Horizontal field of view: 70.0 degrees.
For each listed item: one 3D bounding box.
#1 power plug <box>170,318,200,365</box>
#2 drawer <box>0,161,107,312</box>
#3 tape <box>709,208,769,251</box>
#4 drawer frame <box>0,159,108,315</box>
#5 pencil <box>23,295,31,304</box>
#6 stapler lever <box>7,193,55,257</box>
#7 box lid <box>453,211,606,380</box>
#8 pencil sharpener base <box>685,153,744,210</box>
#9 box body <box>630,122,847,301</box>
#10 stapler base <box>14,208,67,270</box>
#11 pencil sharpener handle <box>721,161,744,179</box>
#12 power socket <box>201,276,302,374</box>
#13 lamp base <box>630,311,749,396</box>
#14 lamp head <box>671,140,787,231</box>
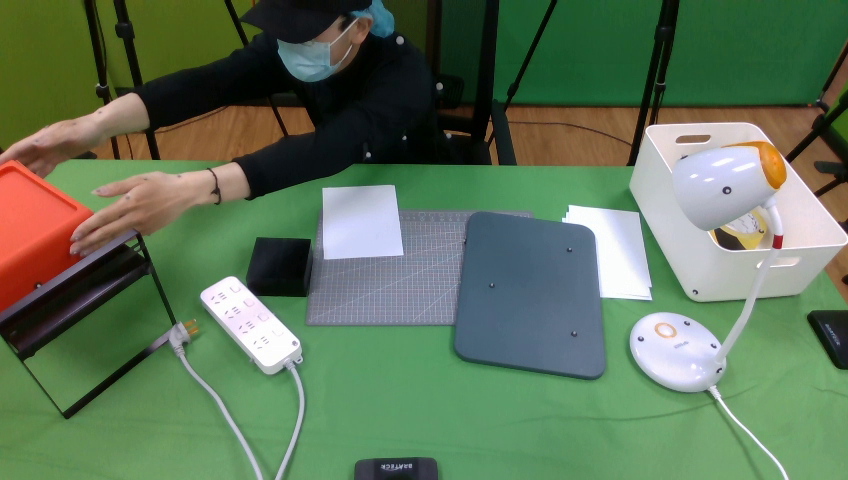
[{"bbox_3d":[-0.392,0.167,1.014,0.052,0.035,0.072,-30,89,-23],"label":"power plug"},{"bbox_3d":[-0.610,-0.001,0.866,0.194,0.073,0.211,28,52,21],"label":"drawer"},{"bbox_3d":[0.633,-0.025,1.238,0.117,0.053,0.116,1,46,-1],"label":"tape"},{"bbox_3d":[-0.611,0.000,0.863,0.201,0.083,0.213,27,51,20],"label":"drawer frame"},{"bbox_3d":[-0.591,0.012,0.882,0.012,0.012,0.193,-18,61,-20],"label":"pencil"},{"bbox_3d":[-0.575,-0.025,0.885,0.027,0.040,0.117,-30,56,-25],"label":"stapler lever"},{"bbox_3d":[0.200,0.085,1.138,0.263,0.015,0.369,8,47,3],"label":"box lid"},{"bbox_3d":[0.619,-0.124,1.293,0.077,0.107,0.061,-8,47,-12],"label":"pencil sharpener base"},{"bbox_3d":[0.594,-0.062,1.202,0.254,0.161,0.361,-4,47,-7],"label":"box body"},{"bbox_3d":[-0.577,-0.010,0.903,0.041,0.024,0.130,-30,57,-25],"label":"stapler base"},{"bbox_3d":[0.668,-0.147,1.299,0.031,0.068,0.036,-8,78,-12],"label":"pencil sharpener handle"},{"bbox_3d":[-0.297,0.141,1.034,0.072,0.033,0.225,-35,58,-30],"label":"power socket"},{"bbox_3d":[0.447,0.143,0.983,0.161,0.181,0.178,-24,55,-24],"label":"lamp base"},{"bbox_3d":[0.415,-0.078,0.811,0.113,0.123,0.112,12,70,-37],"label":"lamp head"}]
